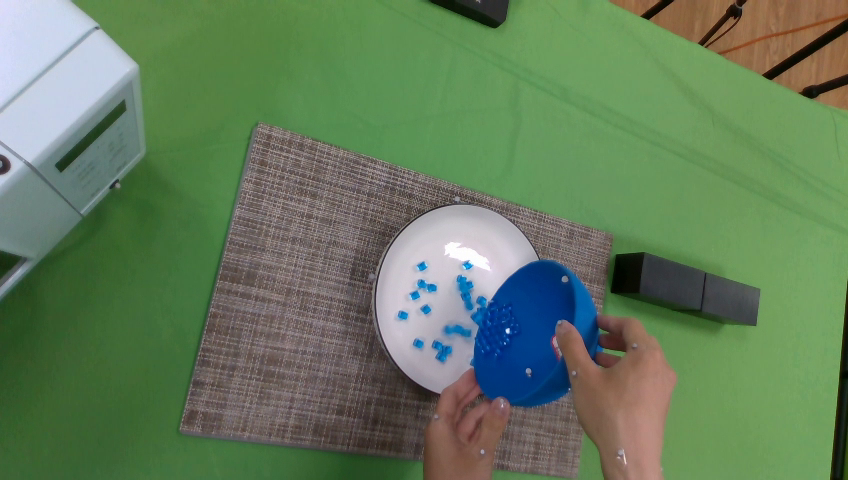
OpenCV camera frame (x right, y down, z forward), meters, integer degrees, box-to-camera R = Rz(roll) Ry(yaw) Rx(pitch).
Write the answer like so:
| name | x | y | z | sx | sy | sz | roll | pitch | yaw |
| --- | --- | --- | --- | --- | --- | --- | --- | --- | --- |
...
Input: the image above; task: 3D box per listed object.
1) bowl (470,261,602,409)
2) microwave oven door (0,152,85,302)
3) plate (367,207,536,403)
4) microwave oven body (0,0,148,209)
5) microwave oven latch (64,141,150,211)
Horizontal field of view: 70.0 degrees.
| name | x | y | z | sx | sy | sz | roll | pitch | yaw |
| --- | --- | --- | --- | --- | --- | --- | --- | --- | --- |
| bowl | 0.123 | 0.104 | 0.608 | 0.077 | 0.150 | 0.151 | 27 | 76 | -24 |
| microwave oven door | -0.360 | 0.093 | 0.355 | 0.039 | 0.243 | 0.355 | 42 | 71 | -14 |
| plate | 0.035 | 0.069 | 0.656 | 0.209 | 0.039 | 0.207 | 2 | 85 | -24 |
| microwave oven body | -0.441 | -0.034 | 0.333 | 0.328 | 0.259 | 0.440 | 43 | 72 | -16 |
| microwave oven latch | -0.270 | -0.062 | 0.515 | 0.030 | 0.029 | 0.079 | 45 | 71 | -15 |
